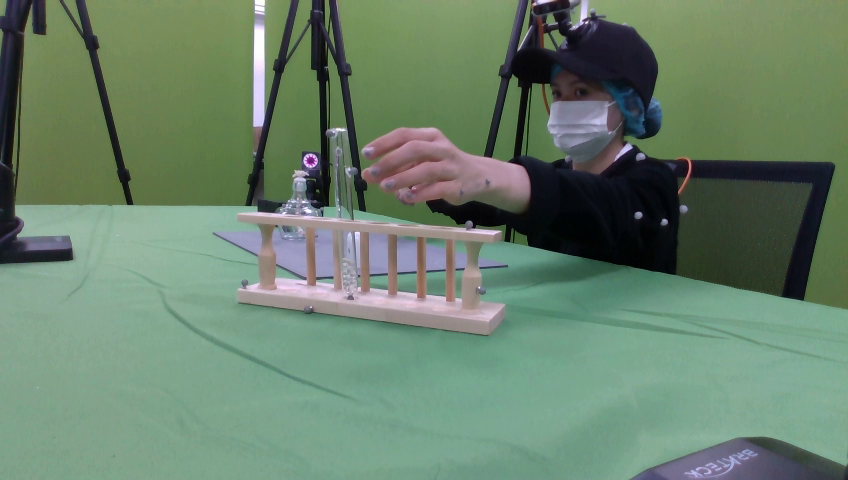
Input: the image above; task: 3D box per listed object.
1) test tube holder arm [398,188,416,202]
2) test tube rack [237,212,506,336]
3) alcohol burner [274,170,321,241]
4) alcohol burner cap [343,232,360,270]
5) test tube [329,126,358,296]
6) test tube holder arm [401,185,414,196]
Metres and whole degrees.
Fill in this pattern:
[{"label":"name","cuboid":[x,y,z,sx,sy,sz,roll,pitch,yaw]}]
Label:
[{"label":"test tube holder arm","cuboid":[-0.029,-0.081,1.100,0.015,0.013,0.178,44,2,3]},{"label":"test tube rack","cuboid":[-0.049,0.024,0.552,0.242,0.085,0.067,5,8,19]},{"label":"alcohol burner","cuboid":[-0.212,-0.058,1.015,0.078,0.119,0.078,4,6,0]},{"label":"alcohol burner cap","cuboid":[-0.087,0.013,0.777,0.034,0.048,0.034,3,7,0]},{"label":"test tube","cuboid":[-0.070,-0.025,0.535,0.017,0.150,0.017,-3,7,1]},{"label":"test tube holder arm","cuboid":[-0.028,-0.085,1.054,0.015,0.010,0.088,44,3,3]}]
